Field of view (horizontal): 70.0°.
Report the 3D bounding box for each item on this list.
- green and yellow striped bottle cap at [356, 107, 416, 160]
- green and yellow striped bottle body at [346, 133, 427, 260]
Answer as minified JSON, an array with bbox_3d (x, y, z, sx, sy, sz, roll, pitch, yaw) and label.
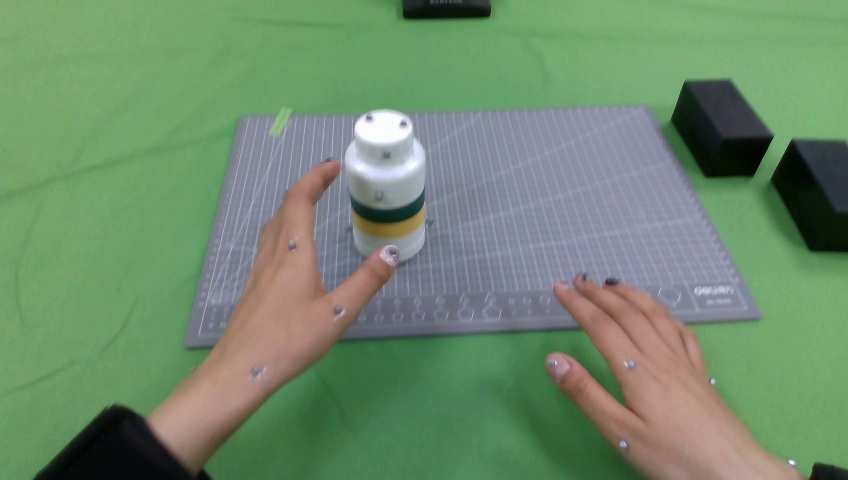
[{"bbox_3d":[-0.029,-0.079,0.450,0.045,0.020,0.045,0,44,0],"label":"green and yellow striped bottle cap"},{"bbox_3d":[-0.029,-0.045,0.489,0.063,0.121,0.062,0,47,0],"label":"green and yellow striped bottle body"}]
